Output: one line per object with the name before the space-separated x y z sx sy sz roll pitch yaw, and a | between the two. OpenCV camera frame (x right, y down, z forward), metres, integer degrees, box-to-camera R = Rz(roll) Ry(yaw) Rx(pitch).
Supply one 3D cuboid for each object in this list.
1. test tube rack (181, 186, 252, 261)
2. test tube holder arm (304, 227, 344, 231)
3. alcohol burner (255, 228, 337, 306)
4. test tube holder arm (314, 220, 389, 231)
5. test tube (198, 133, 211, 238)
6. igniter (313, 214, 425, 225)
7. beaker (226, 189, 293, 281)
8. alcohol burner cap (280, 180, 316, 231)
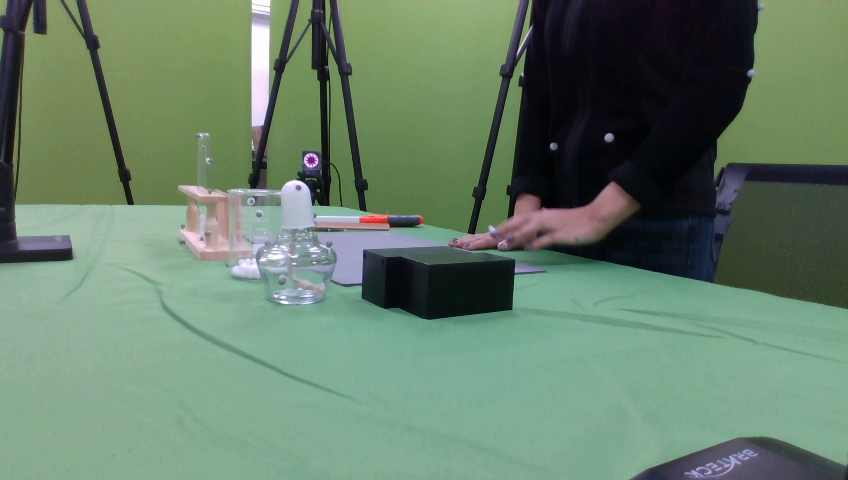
test tube rack | -0.312 -0.031 0.893 0.067 0.085 0.241 -1 8 -27
test tube holder arm | -0.197 -0.026 1.163 0.088 0.015 0.010 0 -27 -20
alcohol burner | -0.124 0.002 0.585 0.078 0.119 0.078 0 7 0
test tube holder arm | -0.153 -0.028 1.174 0.179 0.015 0.013 1 -27 -21
test tube | -0.316 -0.078 0.871 0.017 0.150 0.017 2 3 0
igniter | -0.129 -0.043 1.273 0.278 0.025 0.057 -1 -2 -26
beaker | -0.184 -0.007 0.694 0.084 0.100 0.073 -1 8 -29
alcohol burner cap | -0.122 -0.034 0.581 0.034 0.048 0.034 -3 10 1
